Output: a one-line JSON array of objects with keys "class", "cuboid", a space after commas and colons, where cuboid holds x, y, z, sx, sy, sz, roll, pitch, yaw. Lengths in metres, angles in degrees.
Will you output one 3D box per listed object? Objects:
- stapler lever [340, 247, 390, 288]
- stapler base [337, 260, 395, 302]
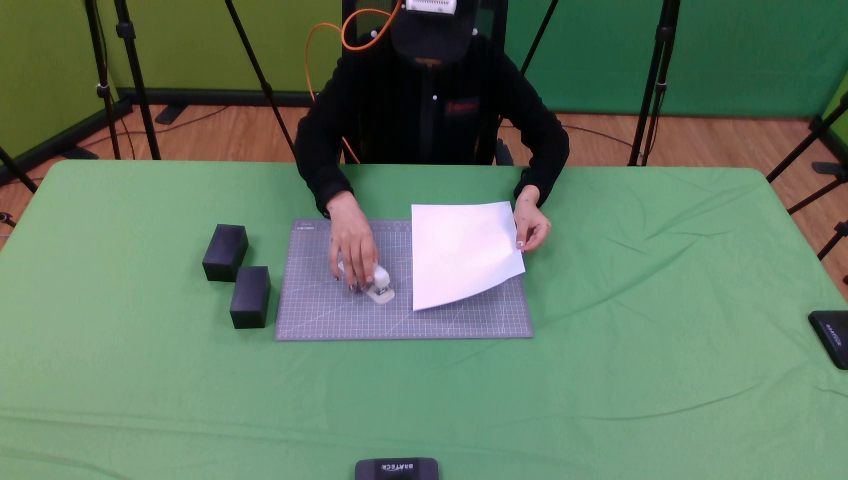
[{"class": "stapler lever", "cuboid": [-0.107, 0.046, 1.105, 0.027, 0.040, 0.117, -32, 54, -33]}, {"class": "stapler base", "cuboid": [-0.107, 0.065, 1.123, 0.041, 0.024, 0.130, -32, 54, -33]}]
